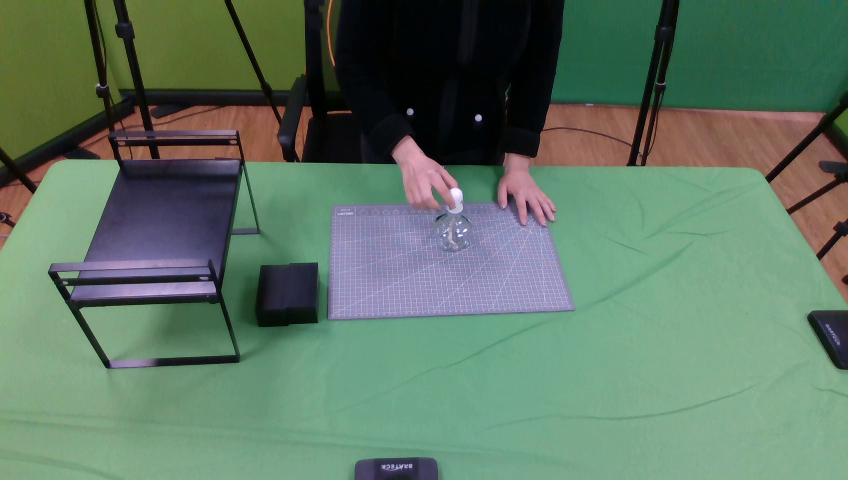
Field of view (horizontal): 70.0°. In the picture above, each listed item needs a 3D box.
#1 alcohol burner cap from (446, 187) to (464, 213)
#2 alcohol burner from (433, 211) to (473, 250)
[{"bbox_3d":[0.058,-0.077,1.126,0.034,0.048,0.033,0,46,0],"label":"alcohol burner cap"},{"bbox_3d":[0.058,-0.038,1.169,0.078,0.119,0.077,3,45,-3],"label":"alcohol burner"}]
